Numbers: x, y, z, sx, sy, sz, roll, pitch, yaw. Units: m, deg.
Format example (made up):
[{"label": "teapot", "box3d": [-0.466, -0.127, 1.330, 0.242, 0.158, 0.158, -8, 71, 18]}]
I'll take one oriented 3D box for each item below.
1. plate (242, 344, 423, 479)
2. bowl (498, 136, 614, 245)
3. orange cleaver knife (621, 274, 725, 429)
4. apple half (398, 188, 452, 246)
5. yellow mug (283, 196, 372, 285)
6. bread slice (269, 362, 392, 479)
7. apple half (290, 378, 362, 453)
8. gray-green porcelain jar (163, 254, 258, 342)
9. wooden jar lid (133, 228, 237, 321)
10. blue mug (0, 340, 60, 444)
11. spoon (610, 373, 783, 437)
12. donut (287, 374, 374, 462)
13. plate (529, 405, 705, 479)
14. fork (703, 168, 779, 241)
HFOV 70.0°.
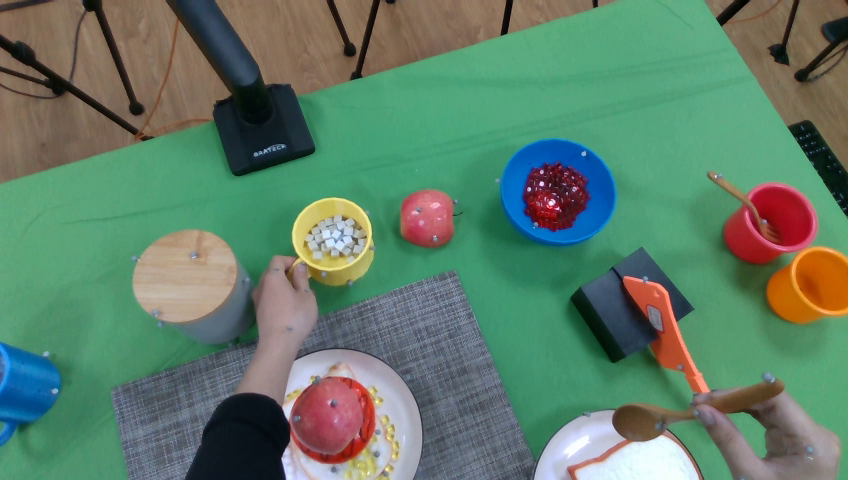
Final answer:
[{"label": "plate", "box3d": [-0.105, 0.228, 0.711, 0.208, 0.039, 0.206, 1, 69, -2]}, {"label": "bowl", "box3d": [0.169, -0.054, 0.812, 0.151, 0.077, 0.150, 1, 70, -2]}, {"label": "orange cleaver knife", "box3d": [0.303, 0.135, 0.745, 0.012, 0.077, 0.211, -29, 95, -20]}, {"label": "apple half", "box3d": [0.002, -0.037, 0.812, 0.074, 0.054, 0.080, 1, 69, 1]}, {"label": "yellow mug", "box3d": [-0.130, 0.011, 0.780, 0.099, 0.064, 0.130, 43, 74, 13]}, {"label": "bread slice", "box3d": [-0.101, 0.225, 0.714, 0.107, 0.018, 0.133, -36, 74, -14]}, {"label": "apple half", "box3d": [-0.107, 0.189, 0.656, 0.081, 0.033, 0.080, -1, 69, 4]}, {"label": "gray-green porcelain jar", "box3d": [-0.260, 0.062, 0.723, 0.106, 0.127, 0.105, 1, 68, -2]}, {"label": "wooden jar lid", "box3d": [-0.259, 0.039, 0.663, 0.108, 0.021, 0.107, 2, 66, -3]}, {"label": "blue mug", "box3d": [-0.482, 0.175, 0.681, 0.082, 0.106, 0.115, 1, 69, -2]}, {"label": "spoon", "box3d": [0.208, 0.133, 0.480, 0.041, 0.194, 0.021, 44, 65, 6]}, {"label": "donut", "box3d": [-0.106, 0.201, 0.690, 0.099, 0.048, 0.098, 1, 70, -2]}, {"label": "plate", "box3d": [0.222, 0.300, 0.703, 0.209, 0.038, 0.207, 1, 70, -1]}, {"label": "fork", "box3d": [0.413, -0.044, 0.782, 0.209, 0.018, 0.028, 28, 62, -37]}]
